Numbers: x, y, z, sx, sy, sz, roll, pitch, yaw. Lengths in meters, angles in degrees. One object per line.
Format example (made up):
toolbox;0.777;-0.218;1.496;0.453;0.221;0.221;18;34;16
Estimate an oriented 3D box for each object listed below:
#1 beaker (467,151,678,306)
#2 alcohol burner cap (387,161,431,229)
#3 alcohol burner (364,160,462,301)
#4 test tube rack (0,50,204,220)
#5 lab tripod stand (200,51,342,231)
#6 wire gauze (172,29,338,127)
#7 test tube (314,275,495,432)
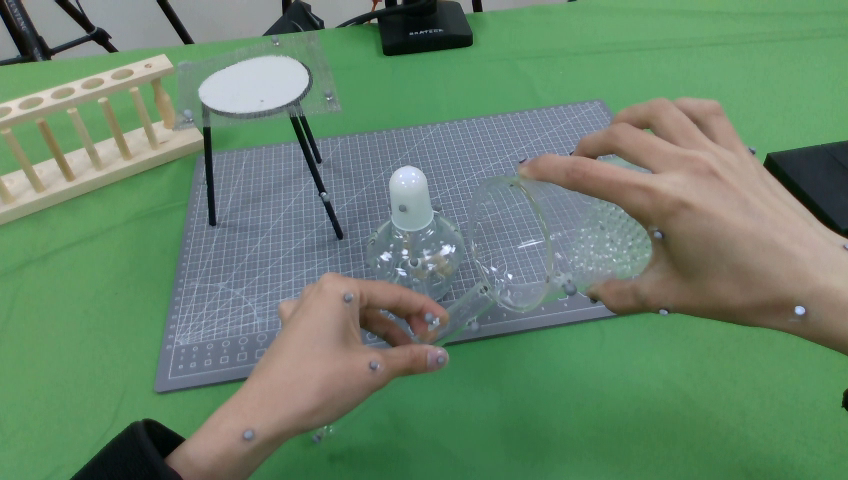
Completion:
beaker;0.085;-0.008;0.344;0.100;0.084;0.073;-13;53;-26
alcohol burner cap;-0.013;-0.035;0.439;0.034;0.048;0.033;-3;47;4
alcohol burner;-0.009;-0.010;0.464;0.078;0.120;0.077;-2;43;2
test tube rack;-0.358;-0.103;0.608;0.242;0.086;0.066;-26;49;-21
lab tripod stand;-0.135;-0.083;0.533;0.148;0.133;0.147;-2;47;3
wire gauze;-0.139;-0.130;0.485;0.125;0.011;0.120;-13;45;-8
test tube;-0.016;0.073;0.373;0.150;0.017;0.017;-42;44;17
